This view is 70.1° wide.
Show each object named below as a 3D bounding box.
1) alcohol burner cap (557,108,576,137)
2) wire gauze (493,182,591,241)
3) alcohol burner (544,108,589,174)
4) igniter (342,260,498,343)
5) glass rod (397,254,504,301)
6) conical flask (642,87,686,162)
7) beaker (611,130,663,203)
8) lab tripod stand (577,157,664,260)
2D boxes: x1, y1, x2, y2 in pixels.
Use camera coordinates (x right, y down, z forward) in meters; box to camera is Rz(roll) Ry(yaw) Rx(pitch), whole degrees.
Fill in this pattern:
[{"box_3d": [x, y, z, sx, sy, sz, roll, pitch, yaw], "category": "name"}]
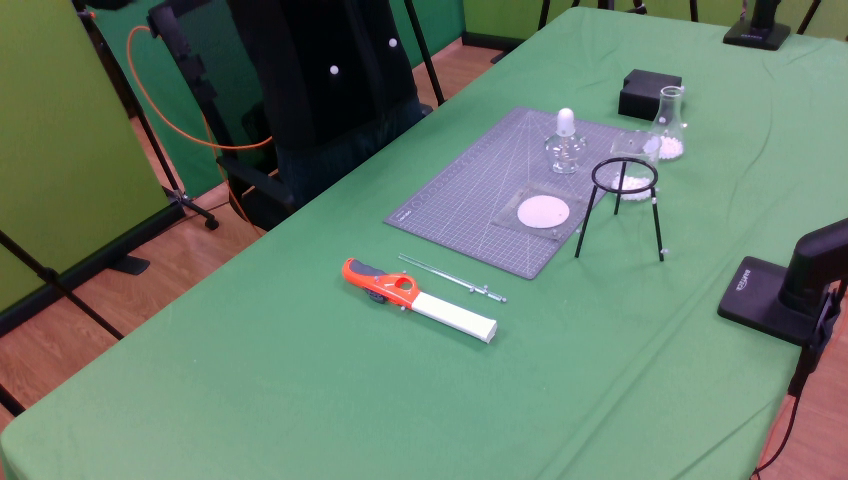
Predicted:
[{"box_3d": [0.246, -0.205, 1.047, 0.034, 0.048, 0.033, -8, 44, 8], "category": "alcohol burner cap"}, {"box_3d": [0.198, -0.048, 1.011, 0.120, 0.011, 0.125, 20, 50, 31], "category": "wire gauze"}, {"box_3d": [0.252, -0.178, 1.071, 0.078, 0.120, 0.077, -7, 40, 7], "category": "alcohol burner"}, {"box_3d": [-0.017, 0.084, 0.883, 0.274, 0.025, 0.057, 20, 58, 31], "category": "igniter"}, {"box_3d": [0.036, 0.054, 0.922, 0.198, 0.008, 0.008, 21, 50, 31], "category": "glass rod"}, {"box_3d": [0.429, -0.206, 1.067, 0.075, 0.122, 0.075, -6, 40, 5], "category": "conical flask"}, {"box_3d": [0.346, -0.118, 0.998, 0.084, 0.101, 0.073, -17, 40, -7], "category": "beaker"}, {"box_3d": [0.292, -0.047, 0.897, 0.148, 0.132, 0.147, -7, 38, 6], "category": "lab tripod stand"}]
